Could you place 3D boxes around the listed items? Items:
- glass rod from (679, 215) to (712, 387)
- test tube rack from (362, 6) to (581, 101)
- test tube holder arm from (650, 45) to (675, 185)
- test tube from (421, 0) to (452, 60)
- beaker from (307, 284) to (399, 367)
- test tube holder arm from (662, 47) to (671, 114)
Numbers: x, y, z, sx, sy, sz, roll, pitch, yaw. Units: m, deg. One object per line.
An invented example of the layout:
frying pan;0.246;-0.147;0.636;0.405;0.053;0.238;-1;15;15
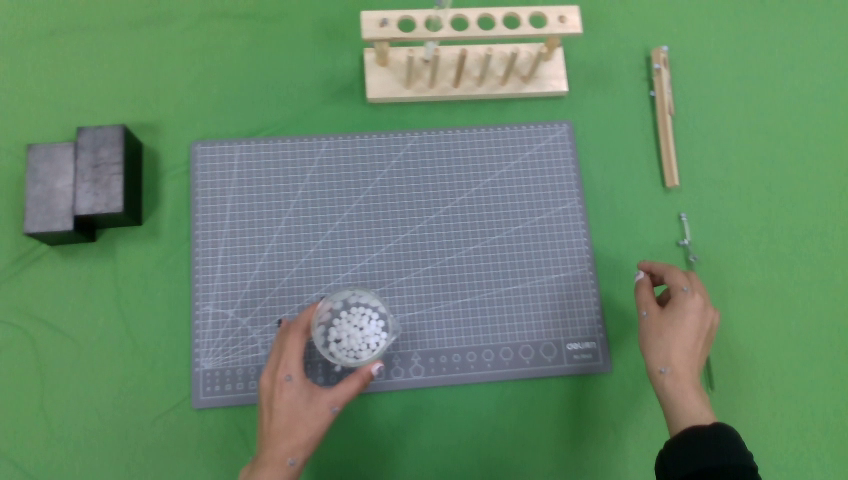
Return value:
glass rod;0.309;0.067;0.692;0.008;0.008;0.198;-2;77;-4
test tube rack;0.052;-0.215;0.704;0.243;0.085;0.066;-3;76;-4
test tube holder arm;0.290;-0.153;0.736;0.013;0.015;0.177;9;74;-32
test tube;0.016;-0.241;0.657;0.017;0.150;0.017;3;73;-9
beaker;-0.068;0.089;0.601;0.084;0.100;0.073;4;76;-3
test tube holder arm;0.295;-0.196;0.749;0.010;0.015;0.087;10;74;-31
